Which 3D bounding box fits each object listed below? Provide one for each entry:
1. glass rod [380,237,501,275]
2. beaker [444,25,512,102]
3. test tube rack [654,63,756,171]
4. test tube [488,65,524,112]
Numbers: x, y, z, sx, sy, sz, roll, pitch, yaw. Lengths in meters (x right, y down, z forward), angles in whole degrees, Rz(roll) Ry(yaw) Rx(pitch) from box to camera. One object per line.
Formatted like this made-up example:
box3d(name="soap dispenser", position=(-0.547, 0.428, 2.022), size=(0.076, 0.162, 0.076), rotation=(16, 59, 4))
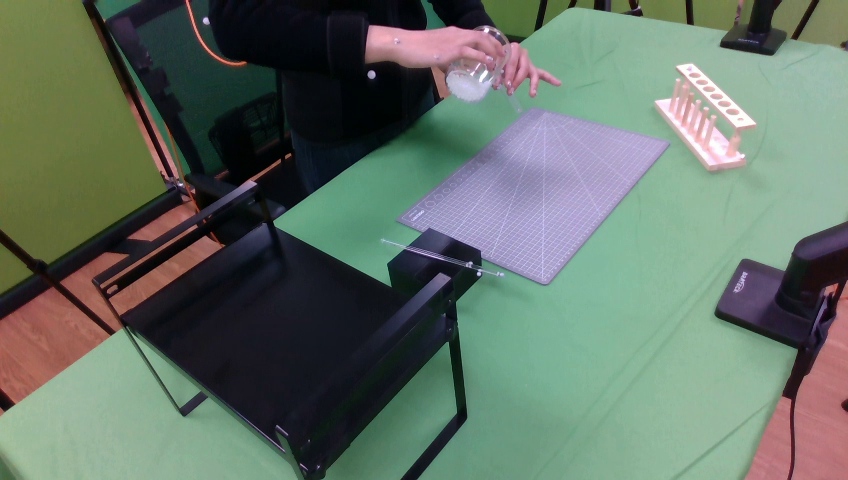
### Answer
box3d(name="glass rod", position=(0.020, 0.023, 0.881), size=(0.198, 0.008, 0.008), rotation=(16, 46, 25))
box3d(name="beaker", position=(0.081, -0.266, 0.928), size=(0.073, 0.084, 0.100), rotation=(18, 58, 25))
box3d(name="test tube rack", position=(0.510, -0.233, 1.120), size=(0.067, 0.085, 0.241), rotation=(-8, 41, -1))
box3d(name="test tube", position=(0.144, -0.258, 1.043), size=(0.017, 0.151, 0.017), rotation=(-8, 72, 25))
